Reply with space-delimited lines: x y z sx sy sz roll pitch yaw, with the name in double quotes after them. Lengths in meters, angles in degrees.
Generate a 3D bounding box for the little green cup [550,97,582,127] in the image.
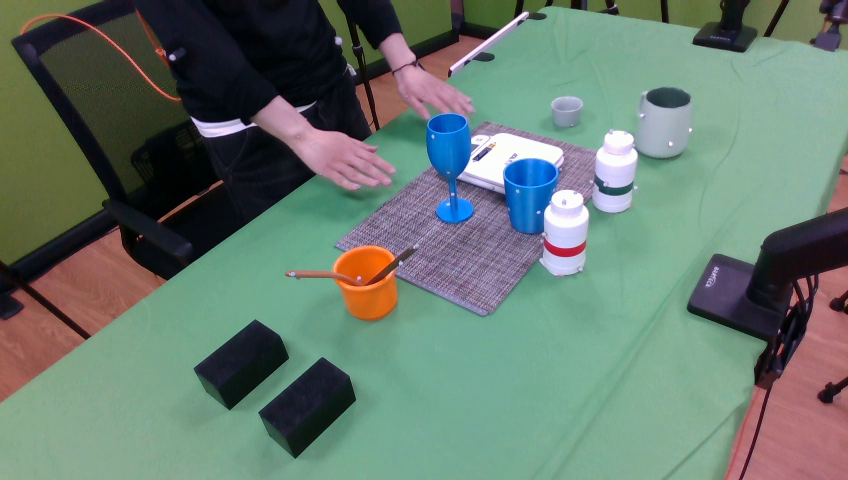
0.284 -0.255 1.213 0.061 0.039 0.061 -5 41 4 "little green cup"

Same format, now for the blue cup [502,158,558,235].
0.168 -0.064 0.954 0.092 0.100 0.092 -5 38 5 "blue cup"

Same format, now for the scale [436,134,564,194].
0.137 -0.141 1.101 0.199 0.032 0.149 22 48 30 "scale"

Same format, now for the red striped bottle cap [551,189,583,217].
0.199 -0.052 0.843 0.044 0.018 0.044 -2 42 2 "red striped bottle cap"

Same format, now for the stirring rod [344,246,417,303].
-0.062 0.050 0.819 0.014 0.175 0.006 -1 63 -40 "stirring rod"

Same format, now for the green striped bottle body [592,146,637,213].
0.307 -0.108 0.976 0.063 0.120 0.063 -4 41 4 "green striped bottle body"

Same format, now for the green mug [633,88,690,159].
0.423 -0.217 1.099 0.093 0.105 0.124 -16 41 -10 "green mug"

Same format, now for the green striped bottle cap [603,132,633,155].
0.302 -0.149 0.939 0.044 0.020 0.044 -3 40 3 "green striped bottle cap"

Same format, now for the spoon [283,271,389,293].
-0.117 0.054 0.824 0.041 0.195 0.021 17 89 38 "spoon"

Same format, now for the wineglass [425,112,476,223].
0.043 -0.114 0.972 0.074 0.173 0.073 -4 41 4 "wineglass"

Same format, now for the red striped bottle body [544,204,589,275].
0.206 -0.011 0.877 0.063 0.120 0.062 -4 41 4 "red striped bottle body"
